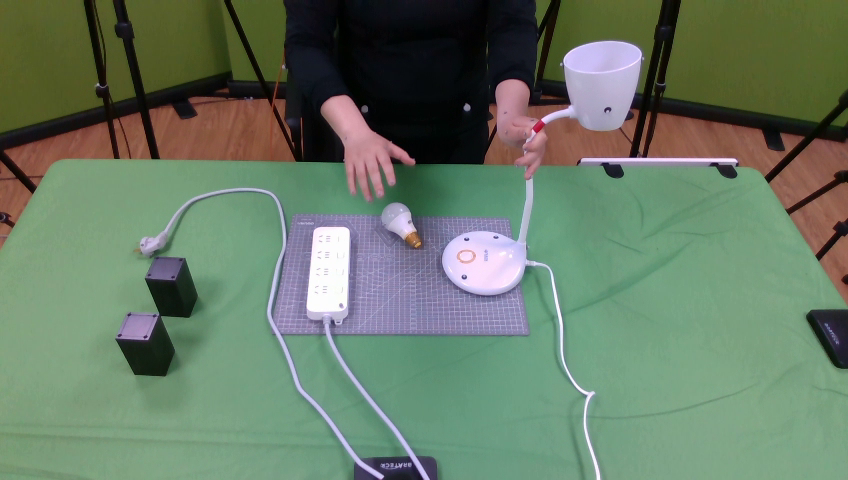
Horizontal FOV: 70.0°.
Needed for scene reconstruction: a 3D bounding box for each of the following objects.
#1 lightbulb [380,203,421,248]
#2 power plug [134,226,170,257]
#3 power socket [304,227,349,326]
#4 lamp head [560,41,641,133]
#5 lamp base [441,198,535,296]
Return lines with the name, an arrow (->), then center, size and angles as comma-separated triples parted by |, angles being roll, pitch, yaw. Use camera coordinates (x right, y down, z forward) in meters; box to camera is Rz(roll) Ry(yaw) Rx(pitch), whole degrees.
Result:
lightbulb -> -0.043, -0.026, 1.198 | 0.059, 0.060, 0.107 | -29, 70, -28
power plug -> -0.515, 0.005, 1.152 | 0.052, 0.035, 0.072 | -6, 24, 7
power socket -> -0.177, 0.059, 1.115 | 0.072, 0.033, 0.225 | -1, 46, -4
lamp head -> 0.266, -0.226, 0.926 | 0.112, 0.123, 0.112 | -4, 38, 3
lamp base -> 0.130, -0.012, 1.105 | 0.179, 0.181, 0.159 | -1, 46, -9
